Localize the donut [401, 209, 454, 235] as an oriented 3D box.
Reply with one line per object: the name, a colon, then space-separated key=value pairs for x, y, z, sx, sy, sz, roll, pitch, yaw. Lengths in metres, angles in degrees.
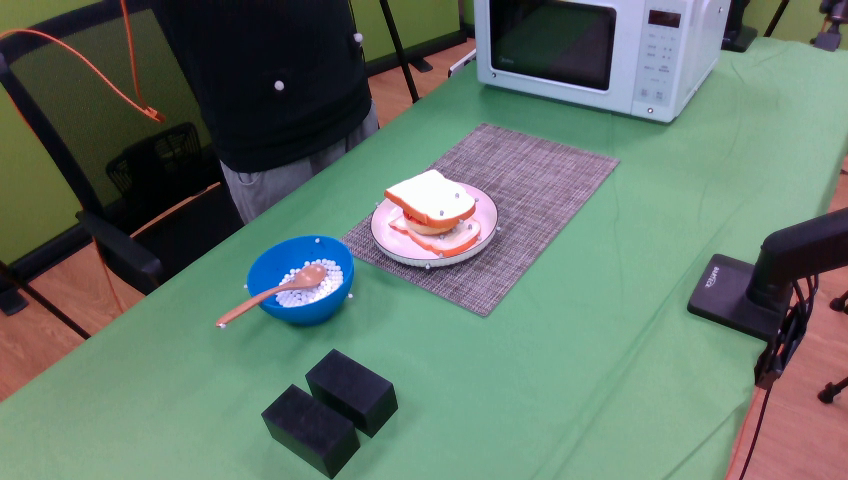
donut: x=0.013 y=-0.046 z=0.957 sx=0.099 sy=0.048 sz=0.098 roll=-6 pitch=39 yaw=6

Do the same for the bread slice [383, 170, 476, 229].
bread slice: x=0.017 y=-0.064 z=0.935 sx=0.105 sy=0.019 sz=0.130 roll=-27 pitch=46 yaw=-31

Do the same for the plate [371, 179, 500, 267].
plate: x=0.020 y=-0.025 z=0.977 sx=0.207 sy=0.039 sz=0.206 roll=-4 pitch=40 yaw=4

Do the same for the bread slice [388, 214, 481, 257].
bread slice: x=0.026 y=-0.023 z=0.973 sx=0.107 sy=0.018 sz=0.133 roll=-36 pitch=49 yaw=-28

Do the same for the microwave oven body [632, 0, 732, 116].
microwave oven body: x=0.377 y=-0.462 z=1.267 sx=0.438 sy=0.261 sz=0.327 roll=21 pitch=48 yaw=30

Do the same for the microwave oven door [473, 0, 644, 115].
microwave oven door: x=0.257 y=-0.396 z=1.199 sx=0.353 sy=0.245 sz=0.039 roll=21 pitch=48 yaw=29

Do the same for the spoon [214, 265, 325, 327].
spoon: x=-0.207 y=0.073 z=0.821 sx=0.041 sy=0.021 sz=0.195 roll=22 pitch=27 yaw=26

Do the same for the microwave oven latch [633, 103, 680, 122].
microwave oven latch: x=0.444 y=-0.249 z=1.157 sx=0.078 sy=0.029 sz=0.030 roll=21 pitch=48 yaw=30

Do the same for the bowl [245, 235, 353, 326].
bowl: x=-0.171 y=0.070 z=0.868 sx=0.151 sy=0.077 sz=0.150 roll=-4 pitch=41 yaw=4
